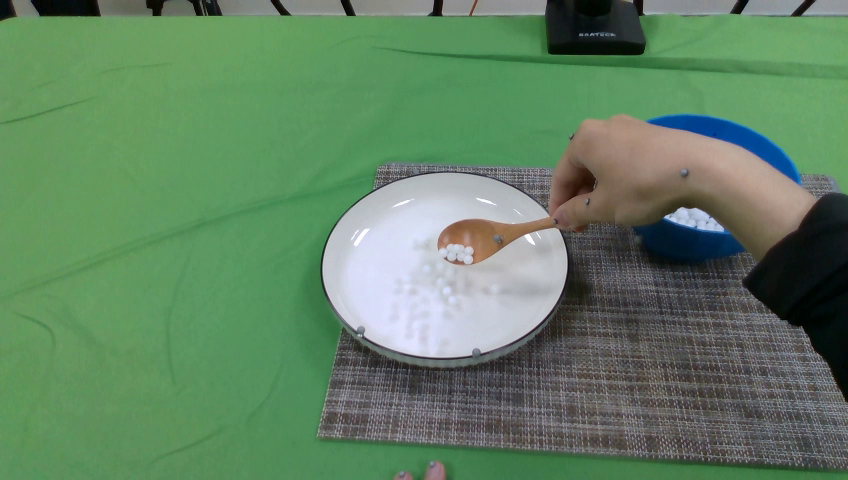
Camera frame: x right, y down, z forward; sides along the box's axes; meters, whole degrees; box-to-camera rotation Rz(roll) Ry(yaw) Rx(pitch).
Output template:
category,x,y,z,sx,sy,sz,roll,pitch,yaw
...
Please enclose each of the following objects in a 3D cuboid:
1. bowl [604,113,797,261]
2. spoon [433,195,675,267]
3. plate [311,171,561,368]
category,x,y,z,sx,sy,sz,roll,pitch,yaw
bowl,0.228,-0.034,0.529,0.151,0.077,0.150,-1,48,2
spoon,0.091,-0.010,0.466,0.193,0.022,0.041,-12,64,35
plate,0.011,0.023,0.519,0.207,0.039,0.205,-1,48,2
